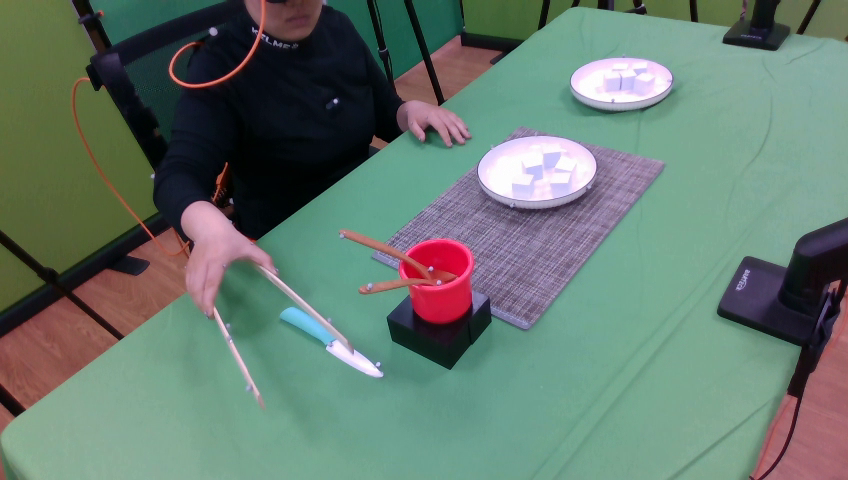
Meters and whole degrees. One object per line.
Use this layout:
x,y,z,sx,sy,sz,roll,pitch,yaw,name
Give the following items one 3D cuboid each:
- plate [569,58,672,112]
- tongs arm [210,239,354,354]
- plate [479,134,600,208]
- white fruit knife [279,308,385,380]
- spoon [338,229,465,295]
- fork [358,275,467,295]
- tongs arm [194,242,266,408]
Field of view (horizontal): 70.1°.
0.411,-0.323,1.274,0.209,0.038,0.208,-5,41,5,plate
-0.214,0.069,0.864,0.028,0.028,0.384,-38,41,-24,tongs arm
0.202,-0.117,1.065,0.207,0.039,0.206,-5,40,5,plate
-0.130,0.143,0.845,0.205,0.016,0.027,25,78,32,white fruit knife
-0.025,0.026,0.776,0.021,0.195,0.041,-41,34,32,spoon
-0.009,0.056,0.739,0.028,0.018,0.209,48,23,26,fork
-0.267,0.099,0.840,0.051,0.026,0.381,-30,37,-19,tongs arm
